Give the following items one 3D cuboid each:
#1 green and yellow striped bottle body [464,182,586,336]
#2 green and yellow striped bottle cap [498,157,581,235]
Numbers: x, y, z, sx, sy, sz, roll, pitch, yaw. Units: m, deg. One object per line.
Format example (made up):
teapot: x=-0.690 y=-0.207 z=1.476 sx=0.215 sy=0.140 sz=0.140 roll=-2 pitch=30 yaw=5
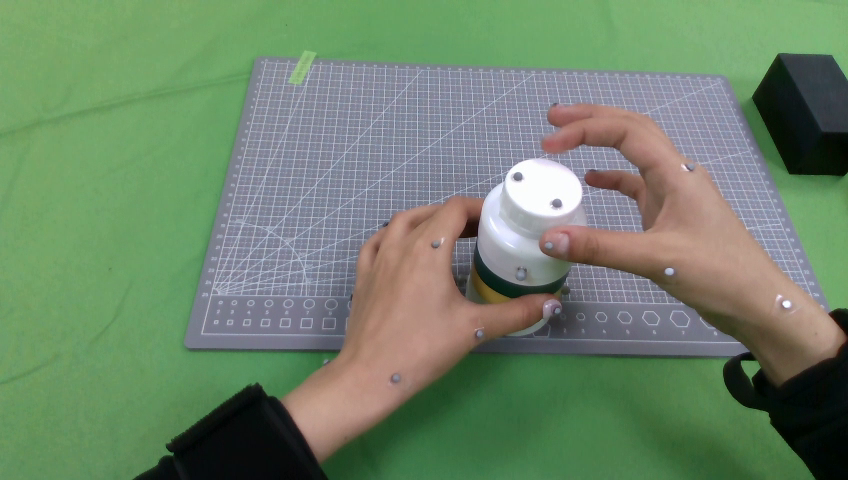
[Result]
green and yellow striped bottle body: x=0.062 y=0.007 z=0.380 sx=0.063 sy=0.120 sz=0.062 roll=2 pitch=54 yaw=-2
green and yellow striped bottle cap: x=0.065 y=-0.025 z=0.338 sx=0.045 sy=0.020 sz=0.045 roll=1 pitch=56 yaw=-2
